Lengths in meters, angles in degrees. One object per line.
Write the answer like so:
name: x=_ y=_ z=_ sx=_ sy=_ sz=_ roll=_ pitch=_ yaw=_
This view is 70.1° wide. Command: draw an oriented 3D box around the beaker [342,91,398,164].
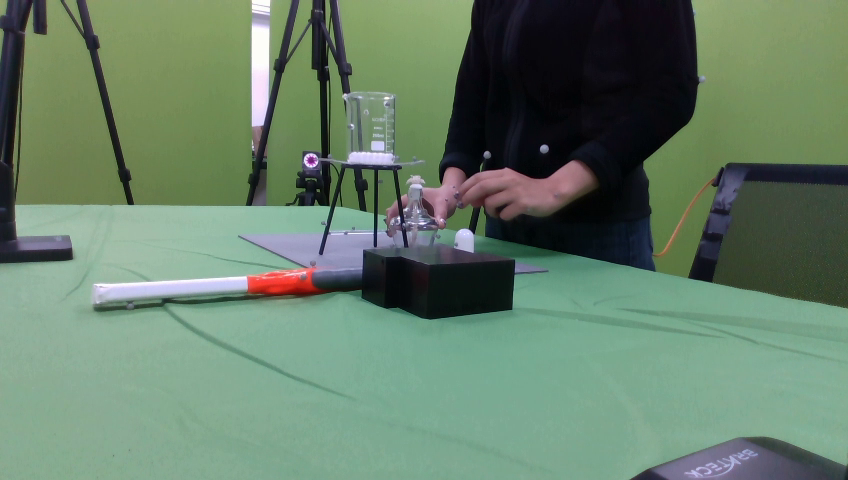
beaker: x=-0.079 y=-0.160 z=0.867 sx=0.084 sy=0.100 sz=0.073 roll=-5 pitch=10 yaw=-35

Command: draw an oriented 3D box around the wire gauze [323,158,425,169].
wire gauze: x=-0.080 y=-0.112 z=0.869 sx=0.122 sy=0.011 sz=0.124 roll=-6 pitch=12 yaw=-35

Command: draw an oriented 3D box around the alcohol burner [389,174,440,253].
alcohol burner: x=-0.014 y=-0.041 z=0.922 sx=0.078 sy=0.119 sz=0.078 roll=1 pitch=12 yaw=0

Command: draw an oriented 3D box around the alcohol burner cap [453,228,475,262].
alcohol burner cap: x=0.058 y=0.006 z=0.872 sx=0.034 sy=0.048 sz=0.034 roll=3 pitch=7 yaw=0

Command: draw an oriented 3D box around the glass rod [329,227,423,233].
glass rod: x=-0.087 y=-0.019 z=1.148 sx=0.201 sy=0.008 sz=0.008 roll=-3 pitch=8 yaw=-32

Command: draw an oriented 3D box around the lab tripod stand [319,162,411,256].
lab tripod stand: x=-0.081 y=-0.047 z=0.879 sx=0.148 sy=0.131 sz=0.148 roll=2 pitch=9 yaw=0

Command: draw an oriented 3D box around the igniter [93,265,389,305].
igniter: x=-0.164 y=0.042 z=0.589 sx=0.278 sy=0.025 sz=0.057 roll=-2 pitch=-7 yaw=-31
